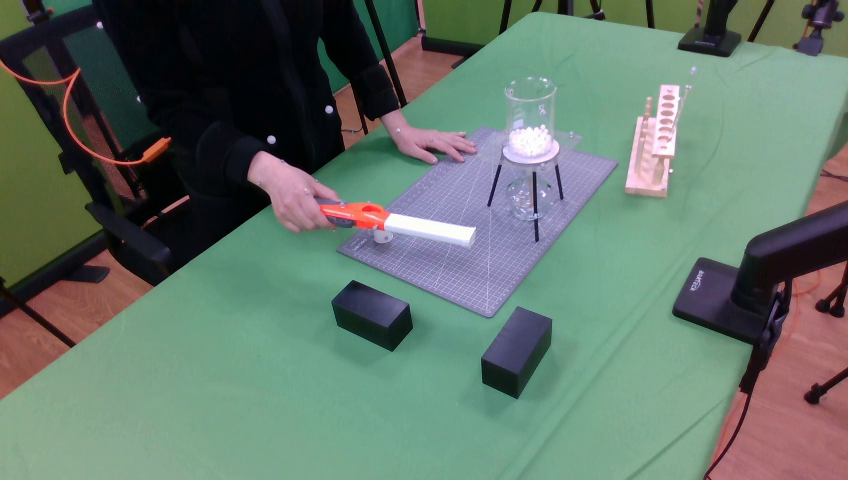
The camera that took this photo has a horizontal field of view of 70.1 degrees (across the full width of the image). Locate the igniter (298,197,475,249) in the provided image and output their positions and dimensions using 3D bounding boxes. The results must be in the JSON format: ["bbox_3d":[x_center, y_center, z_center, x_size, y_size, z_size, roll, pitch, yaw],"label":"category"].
[{"bbox_3d":[-0.061,-0.027,0.860,0.275,0.025,0.057,11,40,19],"label":"igniter"}]

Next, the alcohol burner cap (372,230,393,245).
[{"bbox_3d":[-0.070,-0.019,0.990,0.034,0.048,0.033,-4,41,4],"label":"alcohol burner cap"}]

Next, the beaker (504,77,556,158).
[{"bbox_3d":[0.160,-0.181,0.900,0.084,0.101,0.073,-33,46,-27],"label":"beaker"}]

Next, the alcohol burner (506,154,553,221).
[{"bbox_3d":[0.171,-0.090,0.985,0.078,0.119,0.077,-5,42,5],"label":"alcohol burner"}]

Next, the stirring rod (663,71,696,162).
[{"bbox_3d":[0.410,-0.195,0.981,0.014,0.177,0.006,11,50,14],"label":"stirring rod"}]

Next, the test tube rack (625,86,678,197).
[{"bbox_3d":[0.412,-0.184,1.088,0.066,0.085,0.242,9,43,18],"label":"test tube rack"}]

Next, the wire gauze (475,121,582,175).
[{"bbox_3d":[0.162,-0.142,0.929,0.120,0.011,0.125,19,49,32],"label":"wire gauze"}]

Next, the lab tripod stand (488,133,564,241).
[{"bbox_3d":[0.168,-0.093,0.972,0.148,0.132,0.147,-5,41,5],"label":"lab tripod stand"}]
